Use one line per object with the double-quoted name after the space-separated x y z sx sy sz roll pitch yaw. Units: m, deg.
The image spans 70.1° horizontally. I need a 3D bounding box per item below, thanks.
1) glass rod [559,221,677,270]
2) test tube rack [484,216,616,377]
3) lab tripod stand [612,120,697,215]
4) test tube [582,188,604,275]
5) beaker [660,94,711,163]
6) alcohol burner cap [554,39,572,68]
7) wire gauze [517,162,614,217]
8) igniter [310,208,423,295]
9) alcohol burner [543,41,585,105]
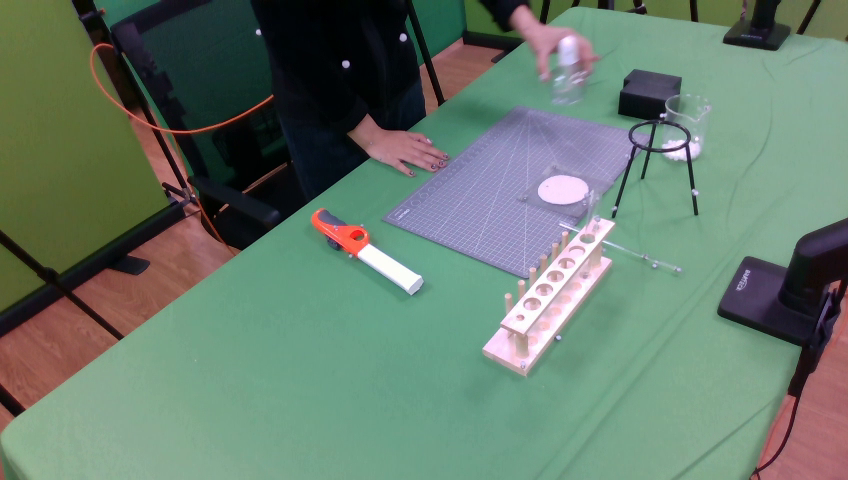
0.292 0.007 0.927 0.198 0.008 0.008 26 52 36 "glass rod"
0.174 0.065 0.823 0.066 0.085 0.243 23 49 33 "test tube rack"
0.369 -0.112 0.958 0.148 0.132 0.147 -4 40 4 "lab tripod stand"
0.229 -0.007 0.822 0.017 0.151 0.017 -3 42 3 "test tube"
0.457 -0.192 1.063 0.074 0.101 0.083 -7 41 4 "beaker"
0.253 -0.341 1.101 0.034 0.048 0.033 -8 38 7 "alcohol burner cap"
0.245 -0.088 1.046 0.120 0.011 0.125 25 50 32 "wire gauze"
-0.103 0.012 0.982 0.057 0.025 0.274 -42 49 -20 "igniter"
0.260 -0.313 1.123 0.078 0.119 0.077 -6 39 5 "alcohol burner"
